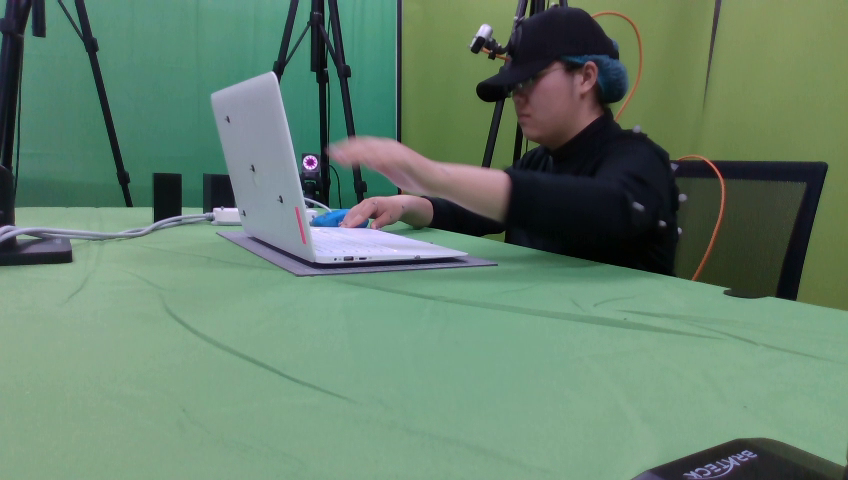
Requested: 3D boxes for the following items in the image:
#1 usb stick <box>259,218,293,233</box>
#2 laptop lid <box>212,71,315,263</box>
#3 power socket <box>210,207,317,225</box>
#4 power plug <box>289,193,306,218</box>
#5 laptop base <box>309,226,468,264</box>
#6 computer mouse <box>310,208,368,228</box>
[{"bbox_3d":[-0.272,-0.026,1.108,0.059,0.027,0.021,-3,12,-27],"label":"usb stick"},{"bbox_3d":[-0.241,-0.104,0.865,0.013,0.241,0.355,-16,17,-28],"label":"laptop lid"},{"bbox_3d":[-0.334,-0.051,1.282,0.228,0.032,0.072,-1,9,-28],"label":"power socket"},{"bbox_3d":[-0.281,-0.076,1.340,0.035,0.052,0.072,4,5,-18],"label":"power plug"},{"bbox_3d":[-0.122,0.006,0.954,0.237,0.023,0.352,2,6,-31],"label":"laptop base"},{"bbox_3d":[-0.179,-0.045,1.275,0.118,0.041,0.062,-6,13,-29],"label":"computer mouse"}]
